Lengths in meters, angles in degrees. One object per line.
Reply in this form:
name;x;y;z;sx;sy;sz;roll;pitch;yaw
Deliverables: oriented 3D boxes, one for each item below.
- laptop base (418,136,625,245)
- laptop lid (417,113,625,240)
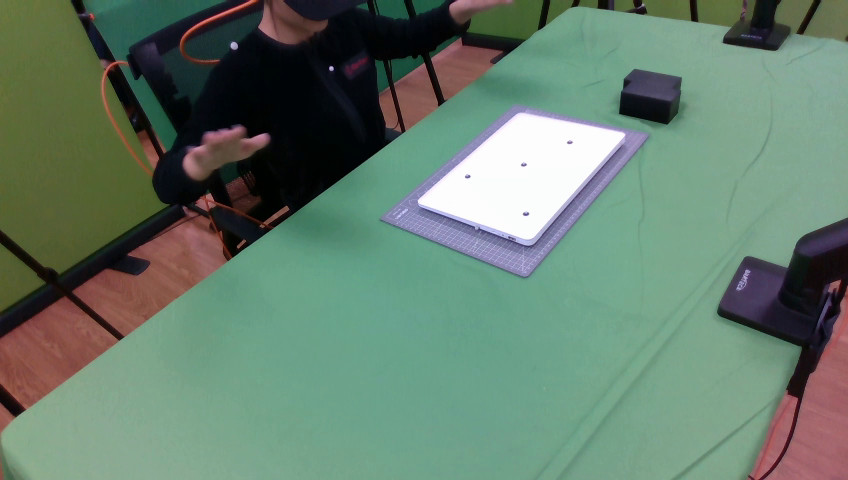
laptop base;0.183;-0.123;1.094;0.233;0.023;0.355;19;48;34
laptop lid;0.180;-0.132;1.088;0.239;0.013;0.358;22;49;34
